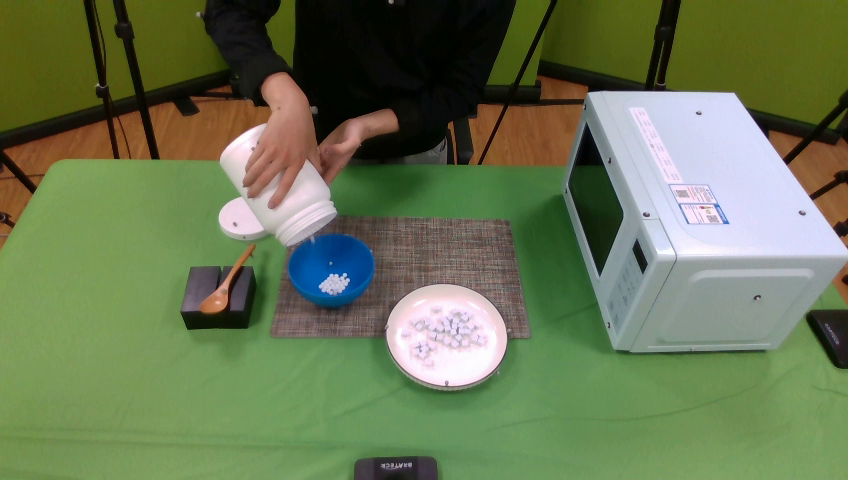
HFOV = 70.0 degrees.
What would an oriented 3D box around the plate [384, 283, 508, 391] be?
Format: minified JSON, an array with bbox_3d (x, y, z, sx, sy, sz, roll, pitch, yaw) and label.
[{"bbox_3d":[0.036,0.165,1.028,0.209,0.038,0.208,2,49,-2],"label":"plate"}]

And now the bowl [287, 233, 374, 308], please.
[{"bbox_3d":[-0.164,0.068,1.078,0.151,0.077,0.150,3,46,-2],"label":"bowl"}]

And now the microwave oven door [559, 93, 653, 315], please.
[{"bbox_3d":[0.327,-0.074,1.123,0.039,0.245,0.353,-1,46,-5],"label":"microwave oven door"}]

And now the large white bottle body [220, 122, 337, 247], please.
[{"bbox_3d":[-0.244,-0.092,1.037,0.130,0.130,0.184,-33,88,-31],"label":"large white bottle body"}]

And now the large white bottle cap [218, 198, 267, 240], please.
[{"bbox_3d":[-0.355,-0.045,1.220,0.115,0.018,0.114,2,45,-2],"label":"large white bottle cap"}]

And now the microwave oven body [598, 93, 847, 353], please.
[{"bbox_3d":[0.475,-0.041,1.109,0.326,0.261,0.438,-1,45,-4],"label":"microwave oven body"}]

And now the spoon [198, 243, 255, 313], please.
[{"bbox_3d":[-0.334,0.062,1.051,0.041,0.022,0.193,9,40,7],"label":"spoon"}]

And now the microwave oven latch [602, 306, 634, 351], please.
[{"bbox_3d":[0.332,0.153,1.044,0.030,0.029,0.078,0,45,-4],"label":"microwave oven latch"}]
